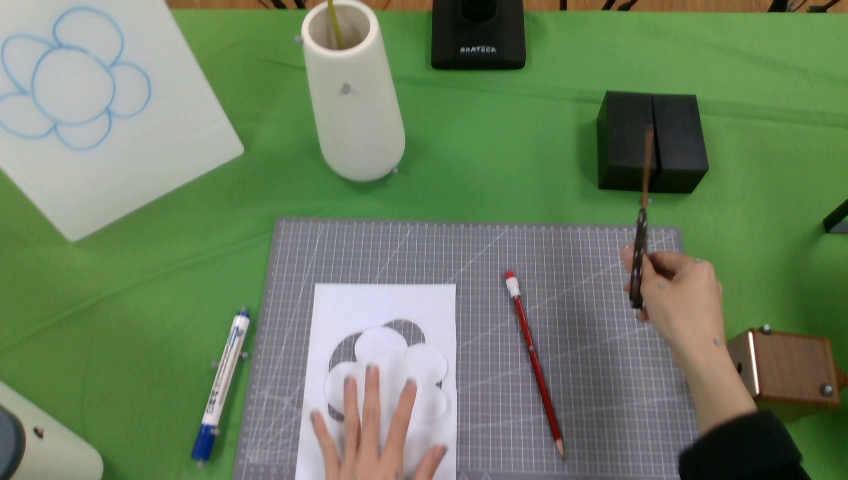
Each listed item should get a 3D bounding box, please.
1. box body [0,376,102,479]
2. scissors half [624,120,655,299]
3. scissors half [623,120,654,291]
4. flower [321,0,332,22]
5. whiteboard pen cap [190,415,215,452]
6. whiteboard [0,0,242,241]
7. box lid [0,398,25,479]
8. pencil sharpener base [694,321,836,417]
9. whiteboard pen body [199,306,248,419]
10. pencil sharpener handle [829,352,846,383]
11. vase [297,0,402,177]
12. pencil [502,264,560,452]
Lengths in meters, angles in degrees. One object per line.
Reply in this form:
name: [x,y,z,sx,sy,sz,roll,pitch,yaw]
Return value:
box body: [-0.500,0.191,0.499,0.362,0.161,0.253,26,68,12]
scissors half: [0.206,-0.030,0.570,0.012,0.040,0.175,7,84,24]
scissors half: [0.199,-0.036,0.552,0.013,0.040,0.174,8,66,19]
flower: [-0.086,-0.199,0.561,0.044,0.365,0.038,-5,47,2]
whiteboard pen cap: [-0.209,0.183,0.574,0.018,0.018,0.033,7,61,5]
whiteboard: [-0.370,-0.192,0.628,0.217,0.309,0.142,-31,49,-12]
box lid: [-0.503,0.158,0.432,0.370,0.015,0.262,27,68,12]
pencil sharpener base: [0.305,0.120,0.548,0.077,0.108,0.061,5,65,0]
whiteboard pen body: [-0.201,0.131,0.600,0.017,0.017,0.140,8,64,5]
pencil sharpener handle: [0.356,0.121,0.536,0.030,0.068,0.035,5,59,0]
vase: [-0.077,-0.151,0.630,0.098,0.201,0.097,-1,64,2]
pencil: [0.107,0.113,0.607,0.012,0.012,0.192,-11,68,-4]
